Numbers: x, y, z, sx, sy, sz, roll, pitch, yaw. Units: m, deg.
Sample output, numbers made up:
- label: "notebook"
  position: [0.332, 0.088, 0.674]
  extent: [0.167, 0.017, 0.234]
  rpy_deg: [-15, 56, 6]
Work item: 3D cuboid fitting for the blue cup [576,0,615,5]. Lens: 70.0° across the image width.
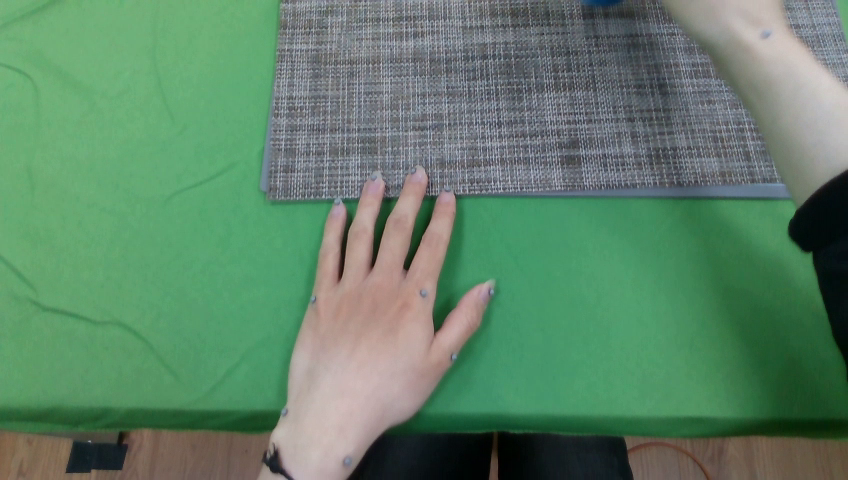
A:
- label: "blue cup"
  position: [0.127, -0.221, 0.417]
  extent: [0.092, 0.101, 0.092]
  rpy_deg: [-1, 68, 4]
